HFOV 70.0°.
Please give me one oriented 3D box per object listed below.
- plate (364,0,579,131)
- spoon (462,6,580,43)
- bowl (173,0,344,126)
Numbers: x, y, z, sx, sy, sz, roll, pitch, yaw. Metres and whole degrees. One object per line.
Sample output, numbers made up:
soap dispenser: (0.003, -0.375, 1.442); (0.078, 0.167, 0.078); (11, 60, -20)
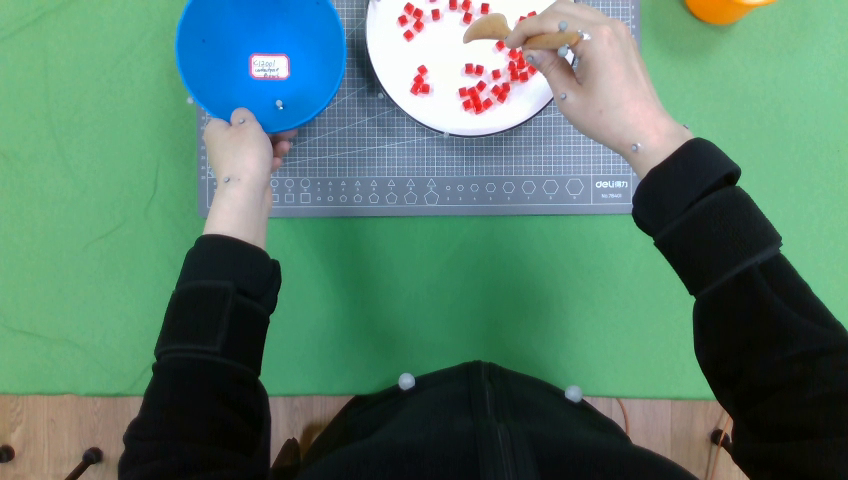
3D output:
plate: (0.046, -0.210, 0.598); (0.209, 0.038, 0.209); (0, 90, 0)
spoon: (0.072, -0.164, 0.468); (0.041, 0.192, 0.022); (-33, 120, -3)
bowl: (-0.148, -0.177, 0.574); (0.151, 0.076, 0.151); (0, 92, -4)
